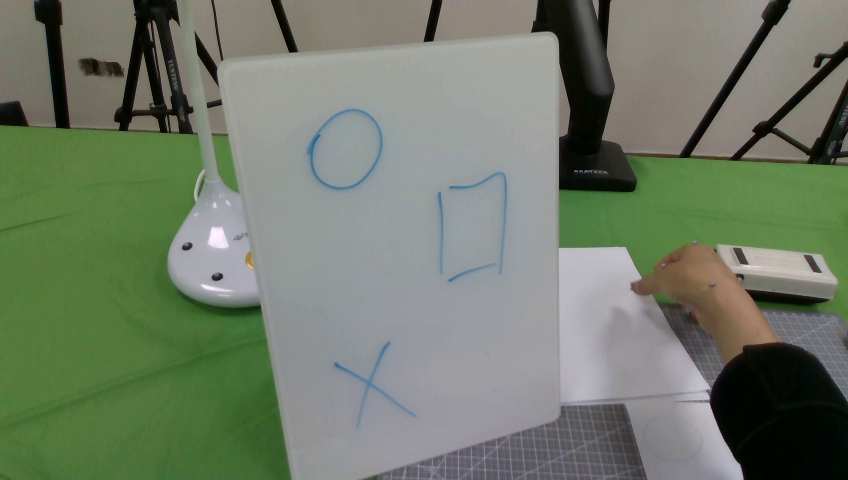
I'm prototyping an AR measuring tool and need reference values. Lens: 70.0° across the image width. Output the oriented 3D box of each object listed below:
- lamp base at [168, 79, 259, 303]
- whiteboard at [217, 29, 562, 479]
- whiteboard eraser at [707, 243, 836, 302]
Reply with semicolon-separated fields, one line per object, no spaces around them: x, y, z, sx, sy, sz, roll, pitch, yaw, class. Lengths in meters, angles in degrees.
-0.191;-0.056;0.600;0.177;0.182;0.160;29;44;34;lamp base
-0.022;0.005;0.476;0.218;0.307;0.142;-10;20;-16;whiteboard
0.362;0.035;0.636;0.112;0.042;0.055;7;38;5;whiteboard eraser
